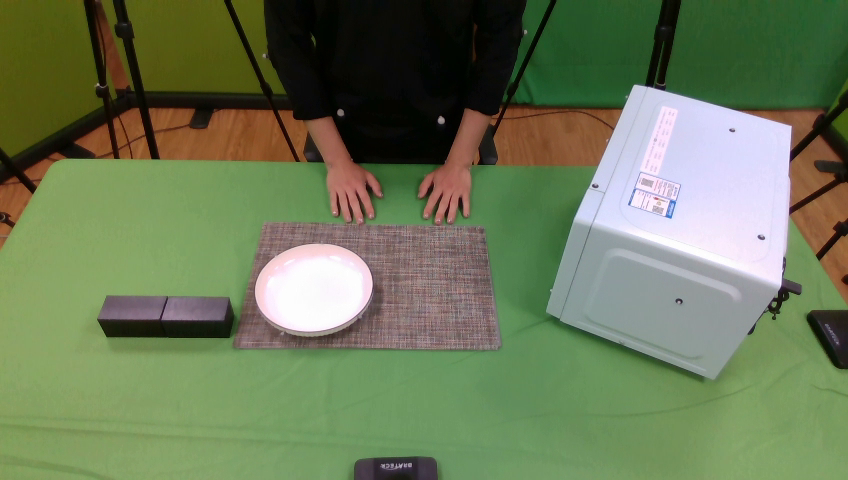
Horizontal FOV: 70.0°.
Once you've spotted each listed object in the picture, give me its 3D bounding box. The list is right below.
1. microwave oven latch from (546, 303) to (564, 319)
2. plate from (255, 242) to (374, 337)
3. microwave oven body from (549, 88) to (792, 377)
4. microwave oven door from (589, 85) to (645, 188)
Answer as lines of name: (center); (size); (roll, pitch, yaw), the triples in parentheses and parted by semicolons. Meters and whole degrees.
microwave oven latch: (0.242, 0.102, 1.081); (0.030, 0.029, 0.079); (21, 48, 17)
plate: (-0.192, 0.090, 1.080); (0.208, 0.039, 0.206); (2, 46, -2)
microwave oven body: (0.456, -0.028, 1.088); (0.325, 0.261, 0.440); (20, 47, 16)
microwave oven door: (0.342, -0.107, 1.149); (0.039, 0.245, 0.354); (20, 48, 15)
